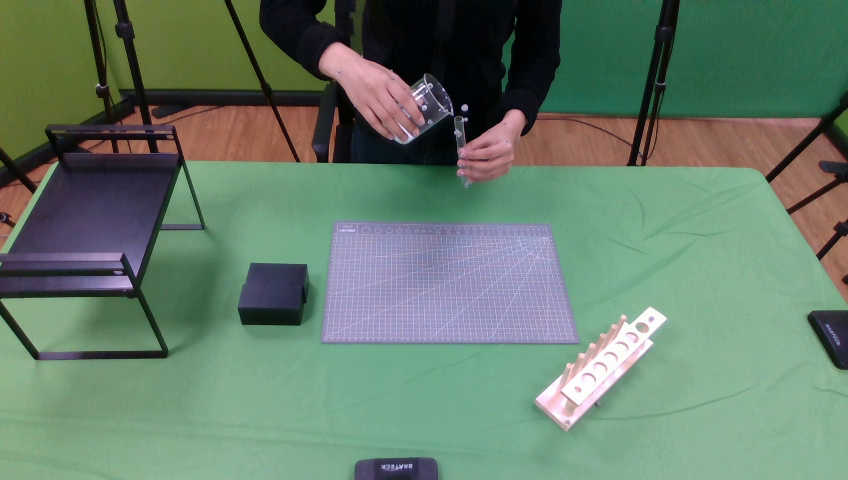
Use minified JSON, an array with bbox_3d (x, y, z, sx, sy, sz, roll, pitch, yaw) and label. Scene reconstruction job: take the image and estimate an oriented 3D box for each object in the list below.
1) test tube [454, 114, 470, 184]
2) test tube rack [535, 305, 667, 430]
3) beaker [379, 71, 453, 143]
[{"bbox_3d":[0.065,-0.151,1.032,0.017,0.151,0.017,-5,49,6],"label":"test tube"},{"bbox_3d":[0.290,0.193,0.984,0.242,0.085,0.066,-32,56,-30],"label":"test tube rack"},{"bbox_3d":[-0.013,-0.207,0.968,0.100,0.084,0.073,-31,36,25],"label":"beaker"}]
